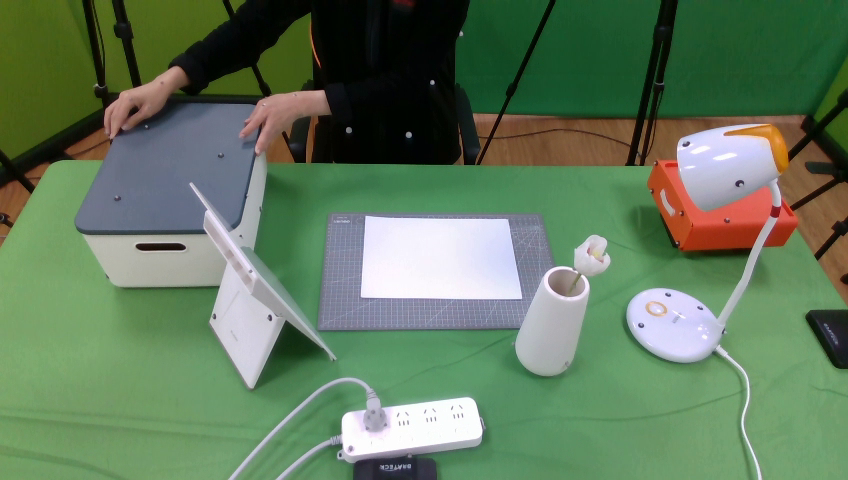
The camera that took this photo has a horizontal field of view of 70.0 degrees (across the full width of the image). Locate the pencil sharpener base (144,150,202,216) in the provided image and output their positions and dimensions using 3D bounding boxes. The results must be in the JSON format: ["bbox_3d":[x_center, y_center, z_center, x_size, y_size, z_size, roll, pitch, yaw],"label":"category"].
[{"bbox_3d":[-0.493,-0.113,1.198,0.061,0.107,0.076,14,46,12],"label":"pencil sharpener base"}]

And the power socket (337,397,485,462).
[{"bbox_3d":[-0.018,0.285,0.915,0.227,0.033,0.071,-5,46,-8],"label":"power socket"}]

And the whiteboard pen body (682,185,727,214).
[{"bbox_3d":[0.572,-0.081,1.237,0.141,0.017,0.017,-26,54,-25],"label":"whiteboard pen body"}]

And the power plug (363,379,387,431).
[{"bbox_3d":[-0.072,0.252,0.910,0.035,0.053,0.072,3,45,-1],"label":"power plug"}]

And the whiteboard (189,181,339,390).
[{"bbox_3d":[-0.292,0.096,0.929,0.144,0.307,0.216,-37,57,-10],"label":"whiteboard"}]

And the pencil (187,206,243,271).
[{"bbox_3d":[-0.401,-0.009,1.176,0.012,0.012,0.193,15,44,10],"label":"pencil"}]

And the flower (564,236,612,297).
[{"bbox_3d":[0.206,0.088,0.892,0.038,0.363,0.044,-17,67,-10],"label":"flower"}]

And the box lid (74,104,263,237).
[{"bbox_3d":[-0.443,-0.139,1.095,0.263,0.015,0.369,-1,45,-5],"label":"box lid"}]

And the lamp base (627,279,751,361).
[{"bbox_3d":[0.459,0.100,1.027,0.178,0.181,0.160,27,51,17],"label":"lamp base"}]

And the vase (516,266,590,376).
[{"bbox_3d":[0.208,0.132,0.964,0.098,0.201,0.097,3,46,-3],"label":"vase"}]

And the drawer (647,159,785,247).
[{"bbox_3d":[0.582,-0.079,1.214,0.212,0.073,0.193,-1,46,-5],"label":"drawer"}]

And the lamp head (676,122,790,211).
[{"bbox_3d":[0.423,-0.104,0.819,0.122,0.113,0.112,-13,33,40],"label":"lamp head"}]

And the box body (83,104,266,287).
[{"bbox_3d":[-0.447,-0.088,1.150,0.254,0.161,0.361,-1,46,-5],"label":"box body"}]

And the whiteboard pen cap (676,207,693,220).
[{"bbox_3d":[0.524,-0.053,1.216,0.033,0.018,0.018,-28,54,-23],"label":"whiteboard pen cap"}]

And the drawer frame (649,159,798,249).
[{"bbox_3d":[0.588,-0.077,1.219,0.214,0.083,0.200,-2,45,-5],"label":"drawer frame"}]

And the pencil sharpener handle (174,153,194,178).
[{"bbox_3d":[-0.479,-0.156,1.224,0.036,0.068,0.030,23,47,2],"label":"pencil sharpener handle"}]

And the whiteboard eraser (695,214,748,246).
[{"bbox_3d":[0.592,-0.018,1.209,0.113,0.042,0.055,12,27,-36],"label":"whiteboard eraser"}]
